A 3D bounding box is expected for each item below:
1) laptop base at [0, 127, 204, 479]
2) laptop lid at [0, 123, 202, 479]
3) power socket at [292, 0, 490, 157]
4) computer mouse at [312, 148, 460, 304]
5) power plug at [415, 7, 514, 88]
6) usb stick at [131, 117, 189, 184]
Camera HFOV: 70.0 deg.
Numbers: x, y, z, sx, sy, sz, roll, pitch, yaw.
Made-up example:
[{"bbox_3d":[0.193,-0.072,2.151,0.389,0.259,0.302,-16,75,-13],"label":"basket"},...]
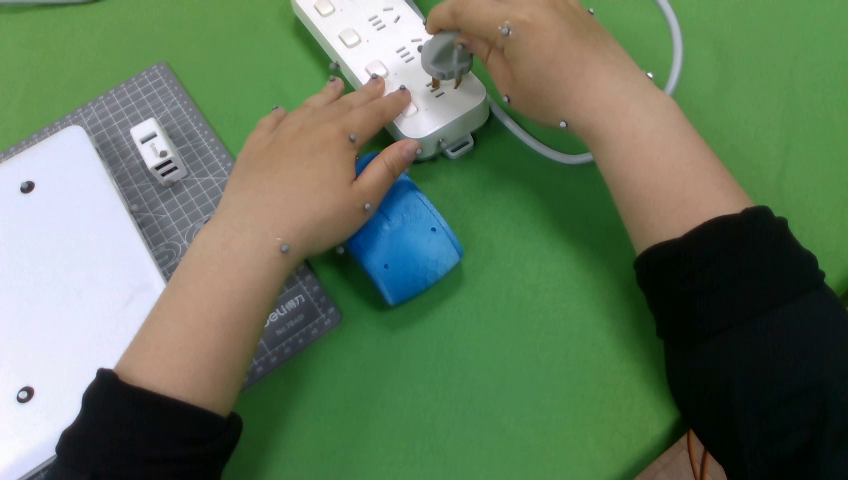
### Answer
[{"bbox_3d":[-0.342,0.089,0.402,0.354,0.023,0.233,-34,67,-10],"label":"laptop base"},{"bbox_3d":[-0.342,0.085,0.390,0.357,0.013,0.239,-33,66,-9],"label":"laptop lid"},{"bbox_3d":[-0.032,-0.153,0.475,0.072,0.033,0.224,-33,64,-8],"label":"power socket"},{"bbox_3d":[-0.029,-0.015,0.402,0.063,0.041,0.116,-33,59,-6],"label":"computer mouse"},{"bbox_3d":[0.029,-0.129,0.420,0.073,0.053,0.035,-10,61,-19],"label":"power plug"},{"bbox_3d":[-0.202,-0.072,0.458,0.021,0.027,0.058,-33,61,-7],"label":"usb stick"}]
